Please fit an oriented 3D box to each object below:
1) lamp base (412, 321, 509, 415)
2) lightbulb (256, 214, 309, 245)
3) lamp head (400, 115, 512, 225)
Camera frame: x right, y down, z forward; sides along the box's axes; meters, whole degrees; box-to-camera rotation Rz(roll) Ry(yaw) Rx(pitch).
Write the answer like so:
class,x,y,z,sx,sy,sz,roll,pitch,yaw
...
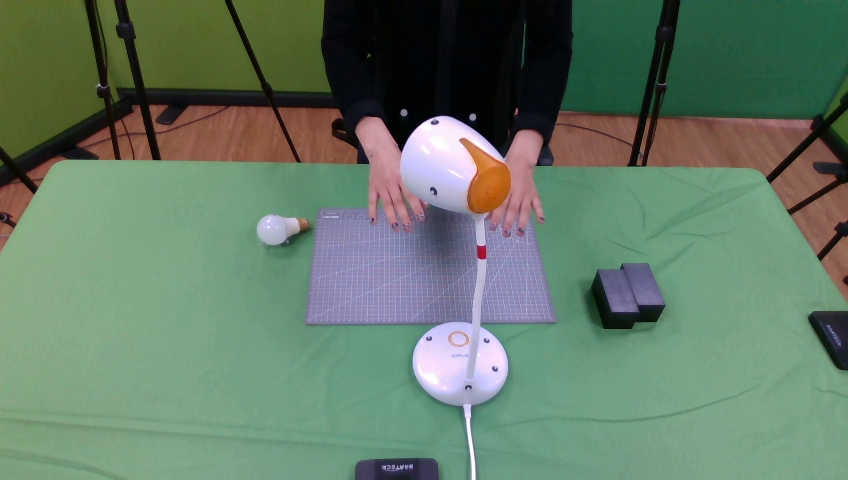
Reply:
class,x,y,z,sx,sy,sz,roll,pitch,yaw
lamp base,0.067,0.158,0.943,0.161,0.181,0.178,-6,50,-10
lightbulb,-0.274,-0.025,1.184,0.108,0.060,0.059,-14,46,-37
lamp head,0.047,-0.077,0.729,0.112,0.113,0.122,-25,43,-25
